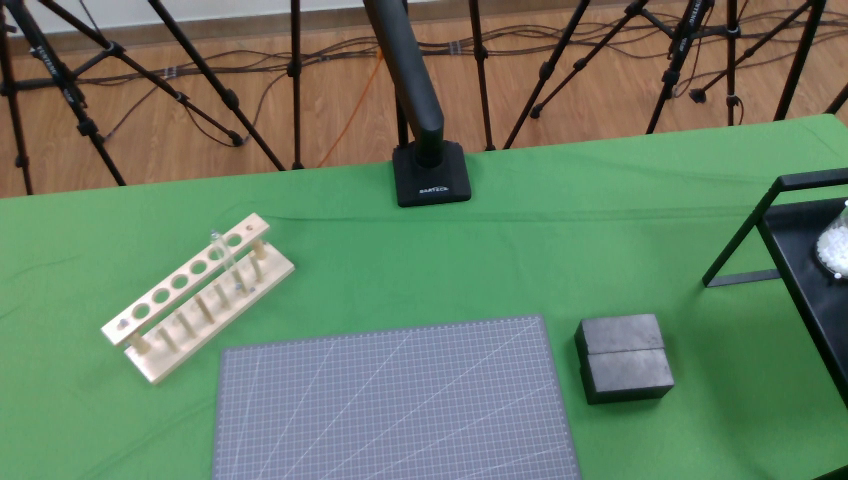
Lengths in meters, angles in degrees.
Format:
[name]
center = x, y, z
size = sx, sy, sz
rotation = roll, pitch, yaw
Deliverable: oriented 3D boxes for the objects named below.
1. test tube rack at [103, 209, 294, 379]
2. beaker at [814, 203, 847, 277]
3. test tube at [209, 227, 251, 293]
[test tube rack]
center = -0.299, 0.071, 0.833
size = 0.066, 0.086, 0.242
rotation = 38, 65, 21
[beaker]
center = 0.490, -0.012, 0.668
size = 0.074, 0.101, 0.083
rotation = -2, 57, -2
[test tube]
center = -0.257, 0.030, 0.806
size = 0.017, 0.151, 0.017
rotation = 0, 57, 1
